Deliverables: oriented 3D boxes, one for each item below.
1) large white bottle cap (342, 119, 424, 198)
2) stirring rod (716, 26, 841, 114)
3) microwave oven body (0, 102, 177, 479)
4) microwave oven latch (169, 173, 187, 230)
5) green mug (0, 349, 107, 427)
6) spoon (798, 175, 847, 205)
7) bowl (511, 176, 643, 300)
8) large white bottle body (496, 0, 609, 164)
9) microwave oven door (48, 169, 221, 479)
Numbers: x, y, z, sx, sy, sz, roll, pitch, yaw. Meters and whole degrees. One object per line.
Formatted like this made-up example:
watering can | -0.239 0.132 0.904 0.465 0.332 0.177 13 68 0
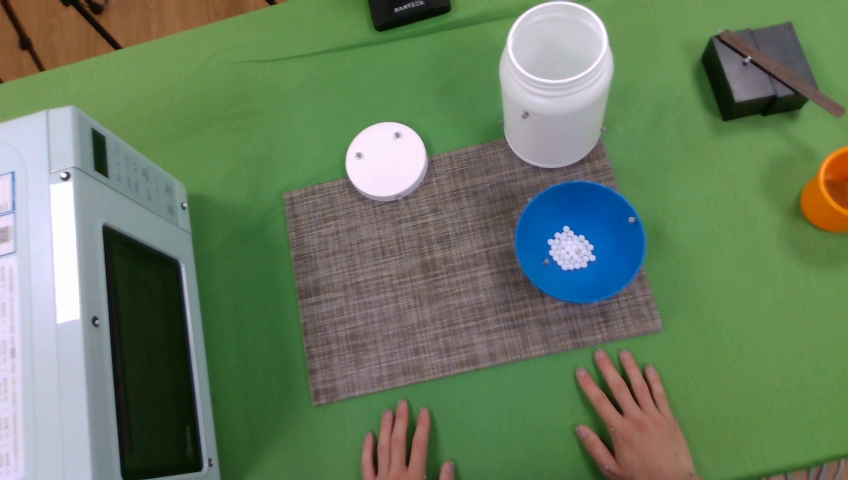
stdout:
large white bottle cap | -0.057 -0.114 0.844 0.114 0.018 0.114 -2 74 7
stirring rod | 0.438 -0.213 0.754 0.175 0.006 0.014 43 119 16
microwave oven body | -0.470 0.124 0.711 0.326 0.262 0.438 -15 74 3
microwave oven latch | -0.352 -0.051 0.844 0.030 0.030 0.078 -15 74 3
green mug | -0.442 0.166 0.718 0.125 0.105 0.092 -26 75 -5
spoon | 0.526 -0.059 0.680 0.022 0.192 0.041 35 74 -29
bowl | 0.183 0.006 0.744 0.151 0.077 0.150 -2 74 8
large white bottle body | 0.155 -0.190 0.746 0.130 0.186 0.129 -3 70 8
microwave oven door | -0.320 0.124 0.684 0.039 0.245 0.353 -15 73 4
